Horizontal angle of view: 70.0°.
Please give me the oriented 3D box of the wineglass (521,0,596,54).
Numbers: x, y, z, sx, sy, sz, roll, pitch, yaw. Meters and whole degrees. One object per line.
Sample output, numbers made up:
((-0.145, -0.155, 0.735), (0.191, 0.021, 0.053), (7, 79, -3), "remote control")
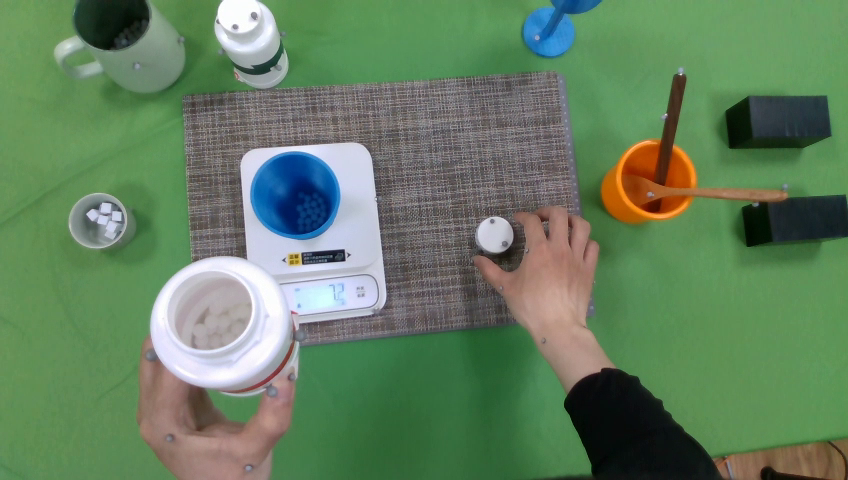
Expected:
((0.157, -0.274, 0.672), (0.074, 0.172, 0.073), (1, 82, -4), "wineglass")

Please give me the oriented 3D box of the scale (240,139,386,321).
((-0.126, -0.012, 0.685), (0.149, 0.031, 0.200), (-6, 84, -5), "scale")

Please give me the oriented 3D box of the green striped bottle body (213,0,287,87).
((-0.190, -0.219, 0.664), (0.063, 0.119, 0.063), (1, 82, -4), "green striped bottle body")

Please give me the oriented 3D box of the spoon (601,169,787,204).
((0.290, -0.057, 0.669), (0.022, 0.192, 0.041), (9, 89, -47), "spoon")

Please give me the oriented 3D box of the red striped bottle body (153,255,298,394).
((-0.101, 0.047, 0.319), (0.063, 0.120, 0.062), (2, 73, -8), "red striped bottle body")

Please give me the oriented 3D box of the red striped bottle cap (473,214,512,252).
((0.081, -0.008, 0.709), (0.044, 0.018, 0.044), (1, 80, -8), "red striped bottle cap")

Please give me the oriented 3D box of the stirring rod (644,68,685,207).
((0.265, -0.107, 0.673), (0.014, 0.178, 0.005), (2, 42, 9), "stirring rod")

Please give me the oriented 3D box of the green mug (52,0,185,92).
((-0.336, -0.212, 0.660), (0.125, 0.105, 0.092), (-28, 86, -7), "green mug")

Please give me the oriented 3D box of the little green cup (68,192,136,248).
((-0.351, -0.019, 0.668), (0.061, 0.038, 0.061), (1, 83, -6), "little green cup")

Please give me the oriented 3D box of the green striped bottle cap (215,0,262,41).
((-0.188, -0.226, 0.613), (0.044, 0.020, 0.044), (1, 81, -5), "green striped bottle cap")

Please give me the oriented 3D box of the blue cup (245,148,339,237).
((-0.129, -0.040, 0.623), (0.093, 0.100, 0.092), (1, 84, -7), "blue cup")
